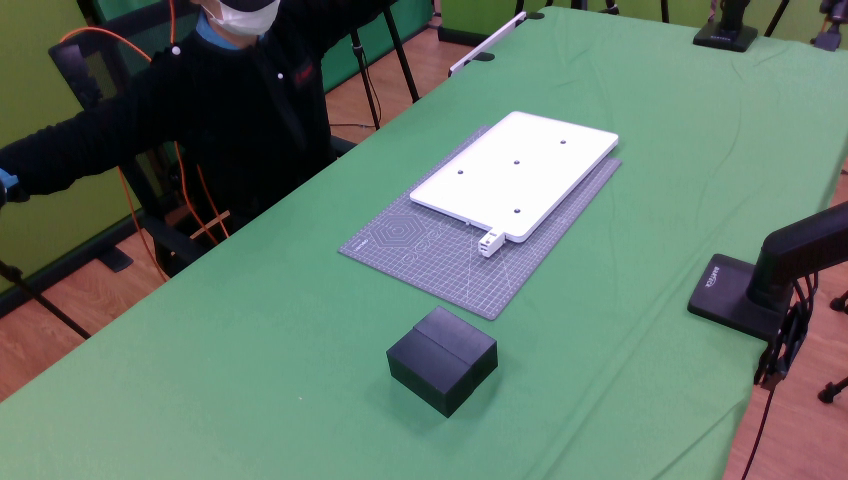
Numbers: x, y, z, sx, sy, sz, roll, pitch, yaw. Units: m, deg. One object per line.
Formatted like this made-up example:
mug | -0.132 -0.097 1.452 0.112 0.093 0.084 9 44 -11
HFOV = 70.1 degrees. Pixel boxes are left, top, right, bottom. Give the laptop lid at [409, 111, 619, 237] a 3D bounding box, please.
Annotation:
laptop lid | 0.167 -0.137 1.089 0.239 0.013 0.358 24 48 34

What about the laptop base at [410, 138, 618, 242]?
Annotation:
laptop base | 0.170 -0.127 1.096 0.233 0.023 0.355 21 47 34

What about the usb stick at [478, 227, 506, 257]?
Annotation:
usb stick | 0.109 -0.001 0.934 0.021 0.027 0.059 23 43 33
